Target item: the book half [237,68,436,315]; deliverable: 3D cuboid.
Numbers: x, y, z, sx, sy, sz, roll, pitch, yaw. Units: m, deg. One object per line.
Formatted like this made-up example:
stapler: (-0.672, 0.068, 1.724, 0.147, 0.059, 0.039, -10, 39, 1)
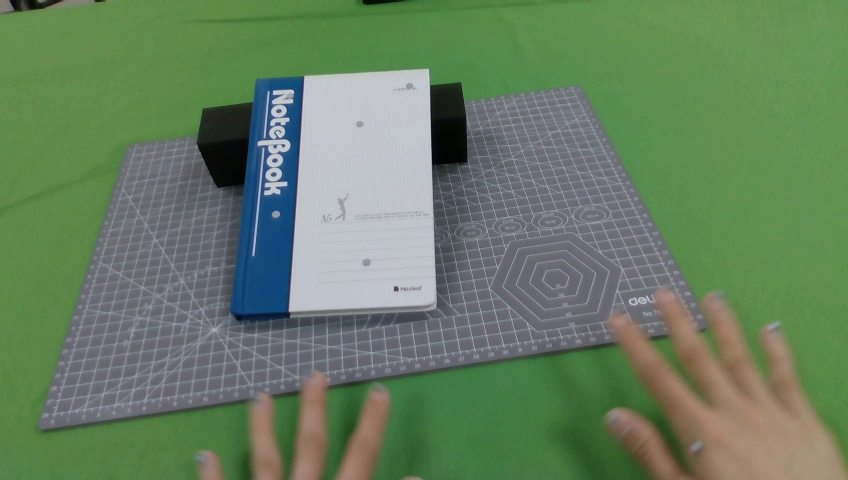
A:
book half: (-0.065, -0.045, 0.469, 0.143, 0.007, 0.208, -3, 66, 3)
